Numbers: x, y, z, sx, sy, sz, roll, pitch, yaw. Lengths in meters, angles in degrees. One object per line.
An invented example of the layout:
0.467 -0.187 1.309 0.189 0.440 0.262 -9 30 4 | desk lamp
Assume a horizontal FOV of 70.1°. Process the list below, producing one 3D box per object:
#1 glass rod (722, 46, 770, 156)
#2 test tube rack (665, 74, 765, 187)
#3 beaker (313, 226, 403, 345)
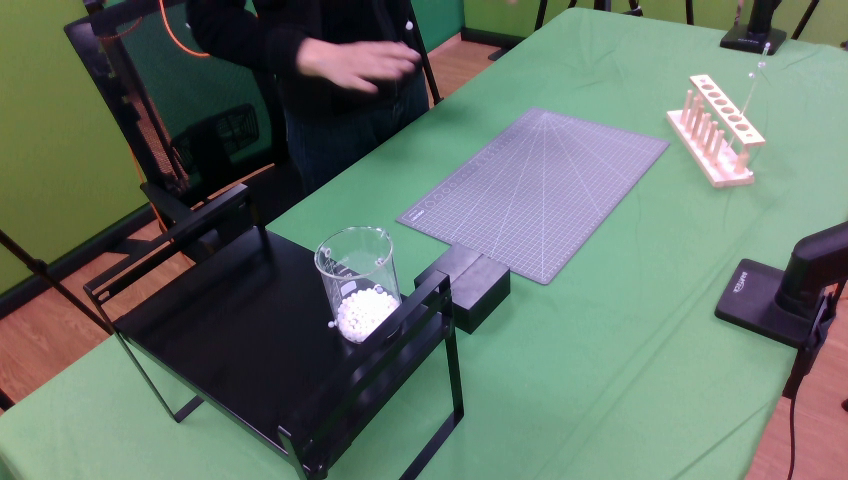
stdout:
0.533 -0.226 1.006 0.008 0.200 0.008 1 41 -1 | glass rod
0.512 -0.201 1.082 0.067 0.085 0.241 -6 41 2 | test tube rack
-0.059 0.046 0.594 0.073 0.101 0.084 23 49 30 | beaker
